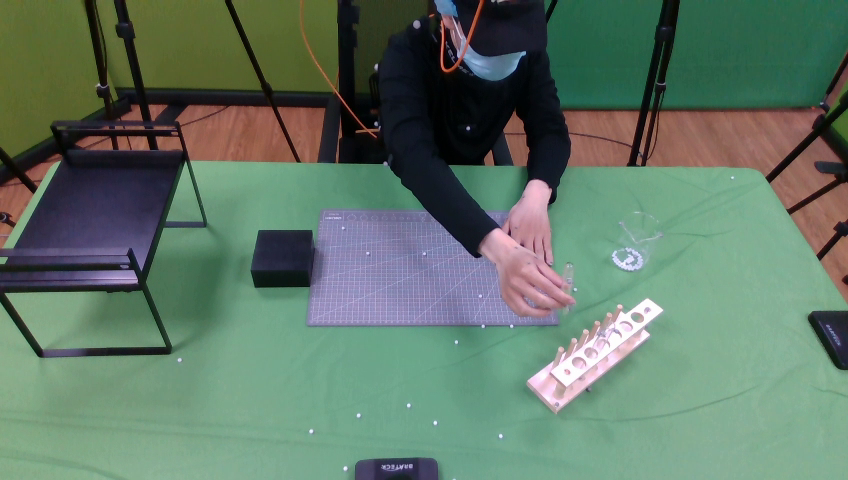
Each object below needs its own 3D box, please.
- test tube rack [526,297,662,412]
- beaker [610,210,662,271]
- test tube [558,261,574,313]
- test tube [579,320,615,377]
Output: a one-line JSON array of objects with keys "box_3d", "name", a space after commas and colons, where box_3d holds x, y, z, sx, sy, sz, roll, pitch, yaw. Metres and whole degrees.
[{"box_3d": [0.284, 0.176, 1.007, 0.242, 0.085, 0.066, -29, 54, -27], "name": "test tube rack"}, {"box_3d": [0.405, 0.005, 1.169, 0.074, 0.101, 0.083, 20, 49, 15], "name": "beaker"}, {"box_3d": [0.217, 0.074, 0.929, 0.017, 0.151, 0.017, -4, 57, 6], "name": "test tube"}, {"box_3d": [0.266, 0.172, 0.942, 0.017, 0.151, 0.017, 4, 49, -4], "name": "test tube"}]
